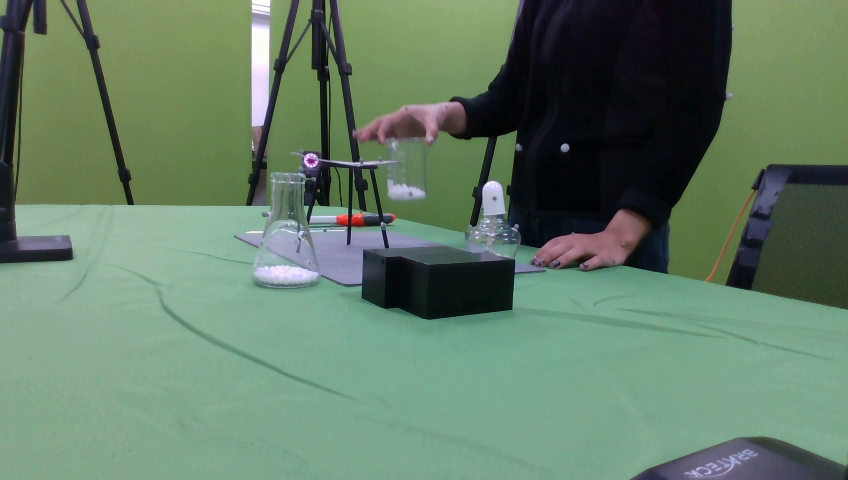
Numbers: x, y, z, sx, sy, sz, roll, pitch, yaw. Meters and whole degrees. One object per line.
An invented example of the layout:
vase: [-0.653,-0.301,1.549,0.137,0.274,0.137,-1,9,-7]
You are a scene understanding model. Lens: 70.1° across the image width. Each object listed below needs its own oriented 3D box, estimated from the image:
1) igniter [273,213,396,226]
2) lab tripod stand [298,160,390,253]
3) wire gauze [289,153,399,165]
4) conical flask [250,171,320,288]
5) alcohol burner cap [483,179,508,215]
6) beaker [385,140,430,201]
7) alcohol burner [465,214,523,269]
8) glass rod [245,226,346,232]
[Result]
igniter: [-0.178,-0.044,1.258,0.278,0.025,0.057,-3,-1,-39]
lab tripod stand: [-0.111,-0.050,0.893,0.148,0.131,0.148,4,6,0]
wire gauze: [-0.112,-0.116,0.884,0.124,0.011,0.122,7,7,28]
conical flask: [-0.150,-0.013,0.658,0.075,0.122,0.075,2,7,0]
alcohol burner cap: [0.094,-0.057,0.810,0.034,0.048,0.034,-8,6,1]
beaker: [-0.029,-0.117,1.020,0.083,0.100,0.074,5,11,42]
alcohol burner: [0.094,-0.022,0.815,0.078,0.119,0.078,0,6,0]
glass rod: [-0.237,-0.021,1.141,0.201,0.008,0.008,-2,8,-32]
